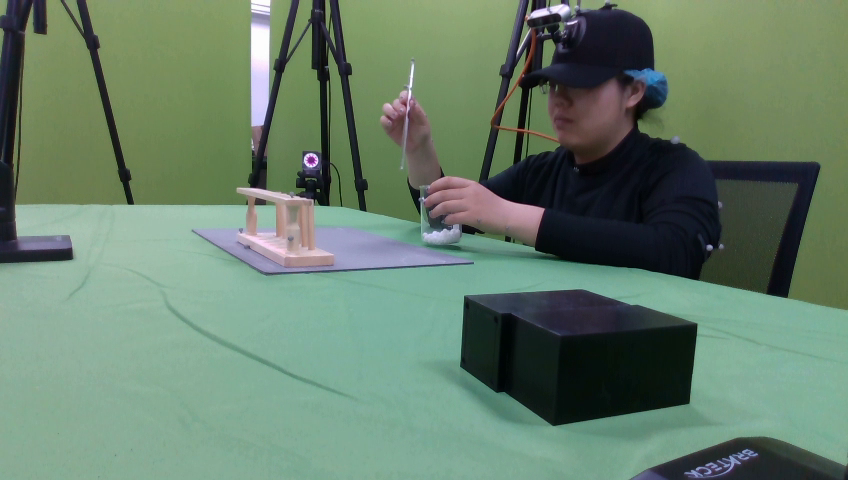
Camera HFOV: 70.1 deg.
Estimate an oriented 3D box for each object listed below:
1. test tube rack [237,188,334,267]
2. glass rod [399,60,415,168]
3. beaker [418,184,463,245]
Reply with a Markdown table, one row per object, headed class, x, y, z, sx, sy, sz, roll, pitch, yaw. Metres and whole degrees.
| class | x | y | z | sx | sy | sz | roll | pitch | yaw |
| --- | --- | --- | --- | --- | --- | --- | --- | --- | --- |
| test tube rack | -0.202 | -0.024 | 0.855 | 0.067 | 0.085 | 0.241 | -2 | 8 | -30 |
| glass rod | -0.028 | -0.218 | 1.039 | 0.008 | 0.199 | 0.008 | 6 | -12 | 2 |
| beaker | 0.032 | -0.044 | 1.021 | 0.083 | 0.100 | 0.074 | 4 | 8 | 43 |
